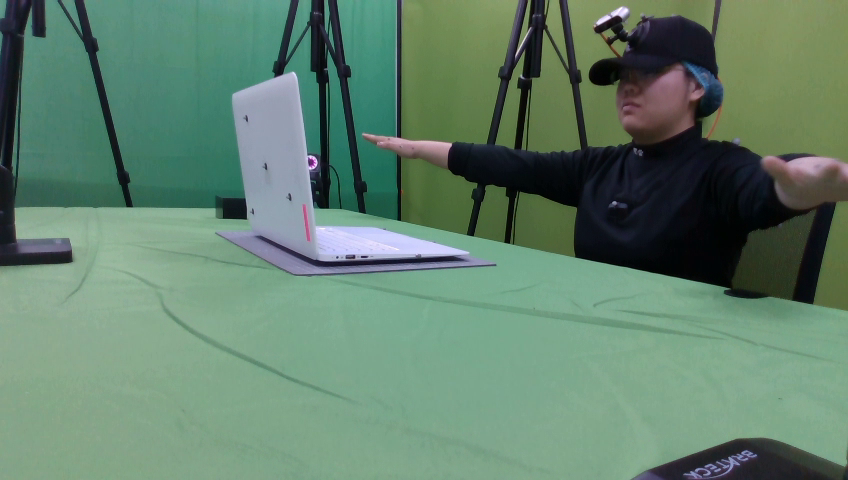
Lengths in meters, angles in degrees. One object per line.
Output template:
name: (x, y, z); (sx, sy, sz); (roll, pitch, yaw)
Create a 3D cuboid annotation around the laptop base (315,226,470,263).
laptop base: (-0.117, 0.005, 0.970); (0.237, 0.023, 0.352); (2, 6, -30)

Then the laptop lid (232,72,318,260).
laptop lid: (-0.229, -0.109, 0.888); (0.013, 0.241, 0.355); (-10, 14, -28)
